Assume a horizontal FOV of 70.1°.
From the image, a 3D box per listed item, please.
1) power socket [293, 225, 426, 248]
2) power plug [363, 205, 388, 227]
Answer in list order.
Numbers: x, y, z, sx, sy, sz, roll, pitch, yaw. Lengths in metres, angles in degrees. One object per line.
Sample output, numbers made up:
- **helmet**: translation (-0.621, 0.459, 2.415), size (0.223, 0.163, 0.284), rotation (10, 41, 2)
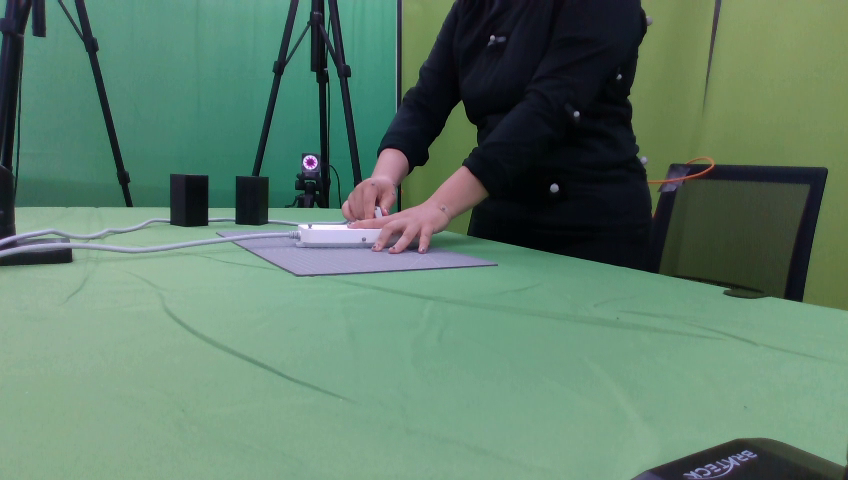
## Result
- **power socket**: translation (-0.103, -0.008, 1.003), size (0.228, 0.032, 0.072), rotation (-1, 7, -22)
- **power plug**: translation (-0.083, -0.033, 1.038), size (0.035, 0.052, 0.072), rotation (-2, 7, -10)
